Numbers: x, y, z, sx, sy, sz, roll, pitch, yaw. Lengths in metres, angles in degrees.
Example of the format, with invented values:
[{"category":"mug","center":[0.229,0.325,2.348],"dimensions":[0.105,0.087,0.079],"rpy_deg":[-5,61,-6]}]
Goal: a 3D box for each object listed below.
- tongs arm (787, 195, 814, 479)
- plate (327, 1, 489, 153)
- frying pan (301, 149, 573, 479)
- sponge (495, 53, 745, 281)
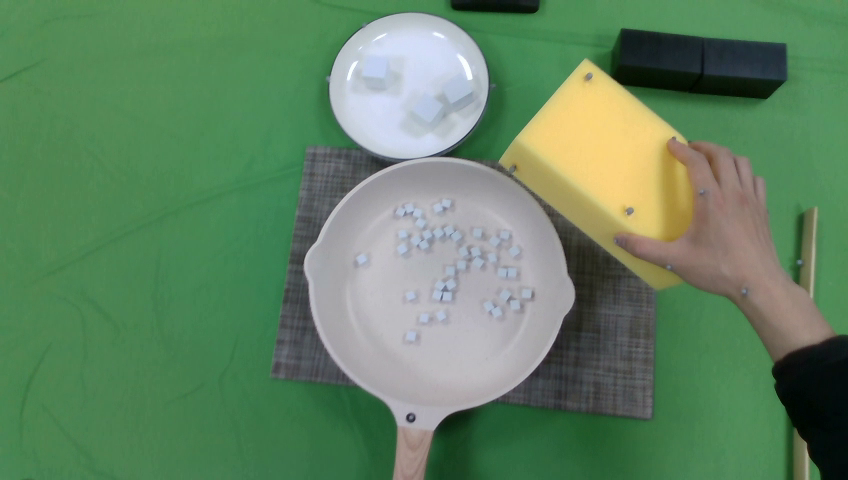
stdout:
[{"category":"tongs arm","center":[0.437,0.135,0.694],"dimensions":[0.028,0.028,0.386],"rpy_deg":[8,78,3]},{"category":"plate","center":[-0.020,-0.208,0.786],"dimensions":[0.207,0.039,0.206],"rpy_deg":[-1,78,3]},{"category":"frying pan","center":[-0.003,0.137,0.672],"dimensions":[0.306,0.103,0.485],"rpy_deg":[8,70,5]},{"category":"sponge","center":[0.191,-0.071,0.597],"dimensions":[0.207,0.061,0.118],"rpy_deg":[38,73,1]}]
